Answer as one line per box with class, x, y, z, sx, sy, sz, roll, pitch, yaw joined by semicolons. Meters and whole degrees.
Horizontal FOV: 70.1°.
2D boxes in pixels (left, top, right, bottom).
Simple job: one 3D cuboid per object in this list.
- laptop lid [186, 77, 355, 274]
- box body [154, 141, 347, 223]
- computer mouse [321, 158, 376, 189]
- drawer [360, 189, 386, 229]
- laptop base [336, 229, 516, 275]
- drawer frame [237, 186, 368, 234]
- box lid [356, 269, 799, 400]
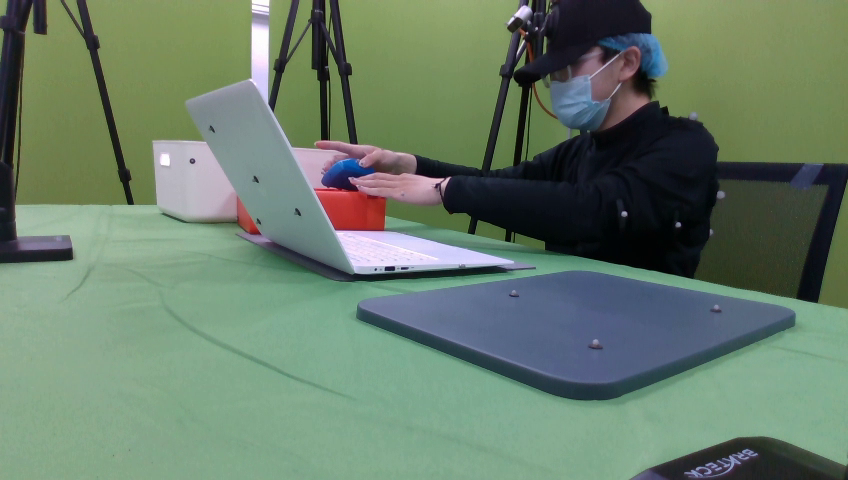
laptop lid;-0.211;-0.081;0.772;0.013;0.242;0.355;-35;25;-23
box body;-0.384;-0.132;1.346;0.366;0.160;0.253;-3;9;-36
computer mouse;-0.149;-0.130;1.179;0.062;0.041;0.118;-41;-20;26
drawer;-0.201;-0.063;1.171;0.213;0.073;0.193;-1;8;-23
laptop base;-0.065;0.014;0.877;0.237;0.023;0.352;1;7;-32
drawer frame;-0.236;-0.063;1.156;0.214;0.082;0.201;-2;8;-24
box lid;0.152;0.068;0.565;0.374;0.015;0.262;-4;10;-41
